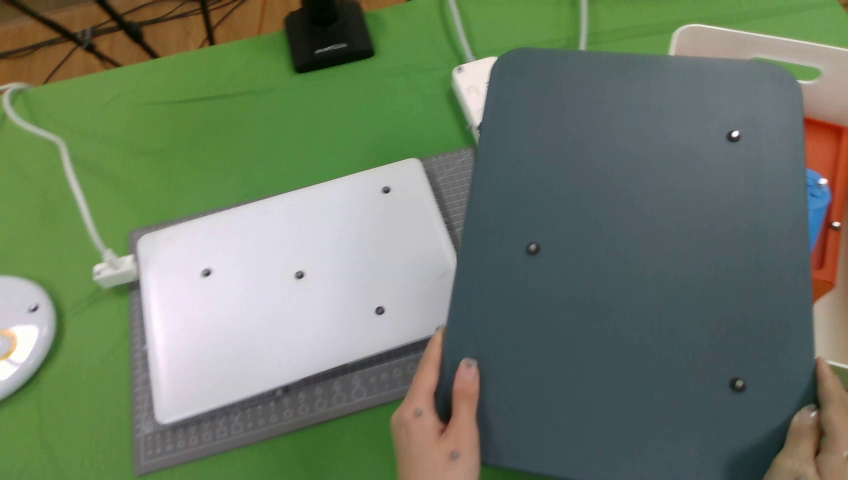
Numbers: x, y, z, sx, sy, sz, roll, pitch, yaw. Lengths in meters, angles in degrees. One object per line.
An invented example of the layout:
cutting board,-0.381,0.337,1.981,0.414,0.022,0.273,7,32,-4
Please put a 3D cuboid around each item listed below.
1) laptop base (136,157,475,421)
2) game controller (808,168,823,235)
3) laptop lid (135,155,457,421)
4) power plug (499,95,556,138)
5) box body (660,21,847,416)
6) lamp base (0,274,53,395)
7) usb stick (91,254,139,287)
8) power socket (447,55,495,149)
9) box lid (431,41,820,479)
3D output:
laptop base,-0.144,0.043,0.702,0.355,0.023,0.233,-18,65,-6
game controller,0.331,-0.057,0.629,0.154,0.052,0.097,27,61,17
laptop lid,-0.144,0.040,0.691,0.357,0.013,0.239,-16,63,-5
power plug,0.130,-0.150,0.761,0.072,0.053,0.035,-6,60,-2
box body,0.338,-0.028,0.631,0.253,0.162,0.362,14,63,11
lamp base,-0.517,0.071,0.617,0.179,0.182,0.159,8,61,11
usb stick,-0.352,0.034,0.706,0.059,0.027,0.021,-13,55,-8
power socket,0.093,-0.157,0.793,0.072,0.033,0.224,-16,61,-7
box lid,0.162,-0.003,0.477,0.263,0.015,0.369,7,69,10
